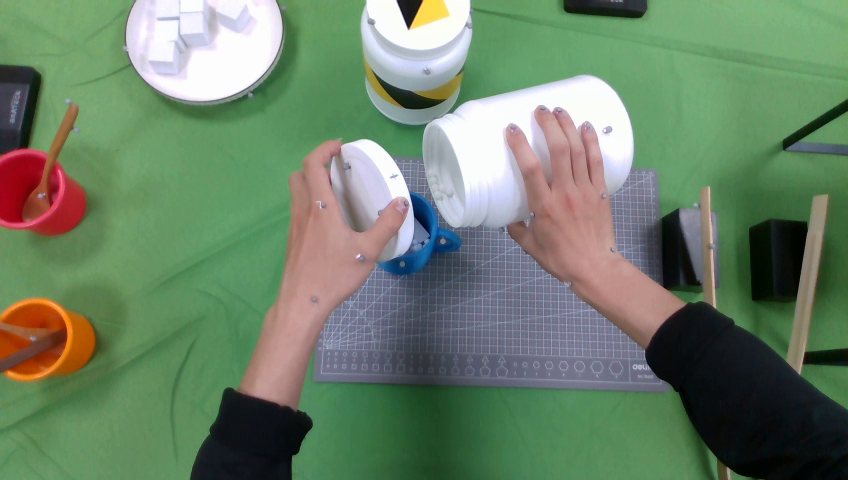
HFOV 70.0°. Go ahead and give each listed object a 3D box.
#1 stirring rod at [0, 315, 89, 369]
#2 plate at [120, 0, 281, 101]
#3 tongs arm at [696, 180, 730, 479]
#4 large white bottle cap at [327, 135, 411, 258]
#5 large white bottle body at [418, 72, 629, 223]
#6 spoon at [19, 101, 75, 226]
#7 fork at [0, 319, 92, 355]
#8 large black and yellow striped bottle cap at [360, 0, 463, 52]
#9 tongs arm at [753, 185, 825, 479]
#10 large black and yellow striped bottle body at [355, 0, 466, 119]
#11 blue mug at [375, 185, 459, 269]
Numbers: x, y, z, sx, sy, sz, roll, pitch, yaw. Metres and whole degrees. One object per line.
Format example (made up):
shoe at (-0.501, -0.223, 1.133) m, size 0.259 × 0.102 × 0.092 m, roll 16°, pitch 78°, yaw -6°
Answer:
stirring rod at (-0.456, 0.129, 0.673) m, size 0.014 × 0.006 × 0.176 m, roll 49°, pitch 37°, yaw 4°
plate at (-0.297, -0.281, 0.818) m, size 0.208 × 0.039 × 0.206 m, roll 1°, pitch 78°, yaw -3°
tongs arm at (0.366, 0.118, 0.740) m, size 0.051 × 0.026 × 0.384 m, roll -2°, pitch 90°, yaw -7°
large white bottle cap at (-0.053, -0.039, 0.559) m, size 0.018 × 0.115 × 0.114 m, roll -22°, pitch 79°, yaw -33°
large white bottle body at (0.098, -0.092, 0.623) m, size 0.185 × 0.131 × 0.130 m, roll -16°, pitch 79°, yaw -17°
spoon at (-0.444, -0.087, 0.715) m, size 0.041 × 0.021 × 0.194 m, roll 47°, pitch 123°, yaw 10°
fork at (-0.478, 0.090, 0.673) m, size 0.209 × 0.018 × 0.028 m, roll 31°, pitch 71°, yaw -41°
large black and yellow striped bottle cap at (-0.013, -0.264, 0.672) m, size 0.115 × 0.019 × 0.114 m, roll 1°, pitch 79°, yaw -4°
tongs arm at (0.448, 0.122, 0.747) m, size 0.028 × 0.027 × 0.387 m, roll 11°, pitch 89°, yaw -10°
large black and yellow striped bottle body at (-0.017, -0.244, 0.753) m, size 0.131 × 0.184 × 0.130 m, roll 1°, pitch 77°, yaw -3°
blue mug at (-0.015, -0.011, 0.742) m, size 0.116 × 0.106 × 0.082 m, roll 9°, pitch 77°, yaw -1°
